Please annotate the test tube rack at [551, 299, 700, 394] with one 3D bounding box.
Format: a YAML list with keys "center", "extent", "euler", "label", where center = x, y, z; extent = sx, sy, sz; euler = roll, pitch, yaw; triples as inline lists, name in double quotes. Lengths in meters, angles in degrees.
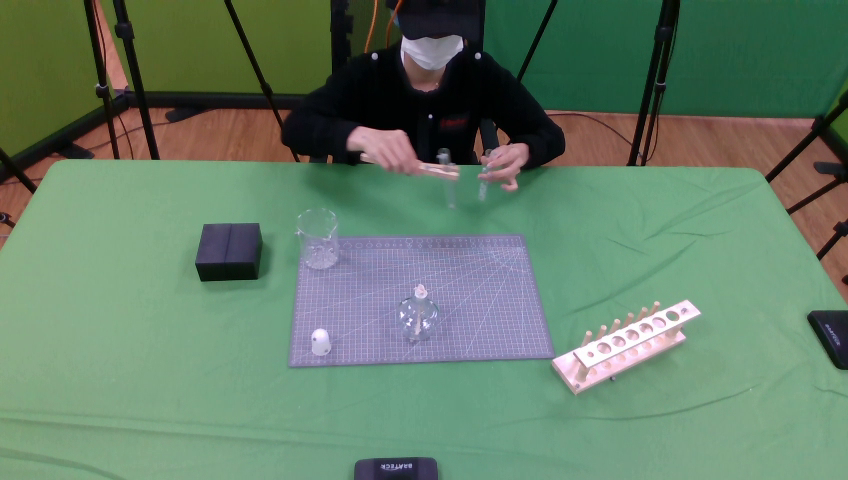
- center: [0.339, 0.166, 1.021]
  extent: [0.242, 0.085, 0.066]
  euler: [-19, 50, -21]
  label: "test tube rack"

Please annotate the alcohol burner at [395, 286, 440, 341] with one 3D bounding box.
- center: [-0.010, 0.116, 1.018]
  extent: [0.078, 0.119, 0.077]
  euler: [3, 47, -3]
  label: "alcohol burner"

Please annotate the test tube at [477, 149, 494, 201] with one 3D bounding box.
- center: [0.120, -0.124, 1.188]
  extent: [0.017, 0.151, 0.017]
  euler: [1, 57, -2]
  label: "test tube"

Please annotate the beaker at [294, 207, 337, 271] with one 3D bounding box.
- center: [-0.196, 0.003, 1.123]
  extent: [0.074, 0.101, 0.083]
  euler: [-23, 53, -24]
  label: "beaker"

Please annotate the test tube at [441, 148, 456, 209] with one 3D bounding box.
- center: [0.046, -0.109, 1.107]
  extent: [0.017, 0.151, 0.017]
  euler: [-4, 52, 6]
  label: "test tube"

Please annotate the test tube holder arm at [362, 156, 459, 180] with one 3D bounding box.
- center: [-0.026, -0.130, 1.093]
  extent: [0.178, 0.015, 0.013]
  euler: [10, 47, 5]
  label: "test tube holder arm"

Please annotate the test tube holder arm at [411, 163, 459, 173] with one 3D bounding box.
- center: [0.020, -0.128, 1.094]
  extent: [0.088, 0.015, 0.010]
  euler: [5, 47, 0]
  label: "test tube holder arm"

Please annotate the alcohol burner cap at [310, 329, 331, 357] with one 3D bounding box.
- center: [-0.173, 0.168, 1.005]
  extent: [0.034, 0.048, 0.033]
  euler: [2, 46, -2]
  label: "alcohol burner cap"
